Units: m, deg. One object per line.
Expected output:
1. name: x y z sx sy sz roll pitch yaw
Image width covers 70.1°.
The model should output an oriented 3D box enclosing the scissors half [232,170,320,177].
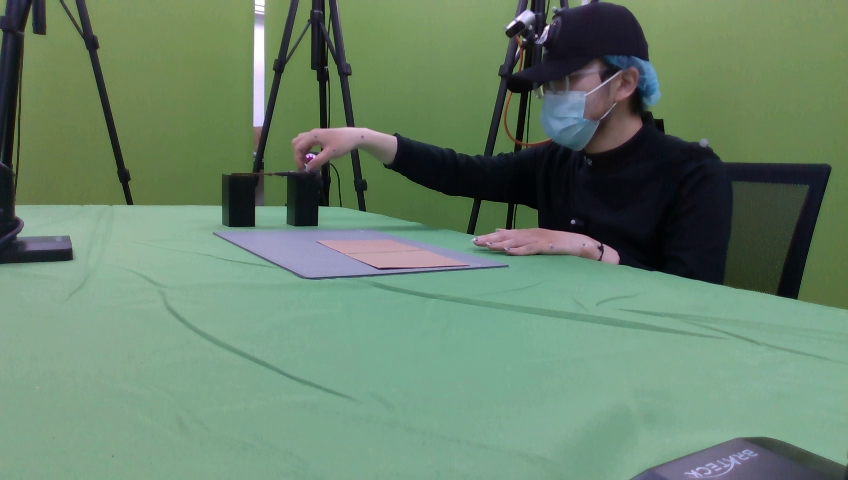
1. scissors half: -0.293 -0.133 1.212 0.176 0.013 0.040 -2 9 -25

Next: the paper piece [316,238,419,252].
1. paper piece: -0.088 0.006 0.964 0.136 0.004 0.135 -3 8 -27

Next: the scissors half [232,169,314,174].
1. scissors half: -0.304 -0.137 1.228 0.176 0.013 0.040 -6 17 -41

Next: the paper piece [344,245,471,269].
1. paper piece: -0.027 0.024 0.847 0.137 0.008 0.137 -5 11 -26
